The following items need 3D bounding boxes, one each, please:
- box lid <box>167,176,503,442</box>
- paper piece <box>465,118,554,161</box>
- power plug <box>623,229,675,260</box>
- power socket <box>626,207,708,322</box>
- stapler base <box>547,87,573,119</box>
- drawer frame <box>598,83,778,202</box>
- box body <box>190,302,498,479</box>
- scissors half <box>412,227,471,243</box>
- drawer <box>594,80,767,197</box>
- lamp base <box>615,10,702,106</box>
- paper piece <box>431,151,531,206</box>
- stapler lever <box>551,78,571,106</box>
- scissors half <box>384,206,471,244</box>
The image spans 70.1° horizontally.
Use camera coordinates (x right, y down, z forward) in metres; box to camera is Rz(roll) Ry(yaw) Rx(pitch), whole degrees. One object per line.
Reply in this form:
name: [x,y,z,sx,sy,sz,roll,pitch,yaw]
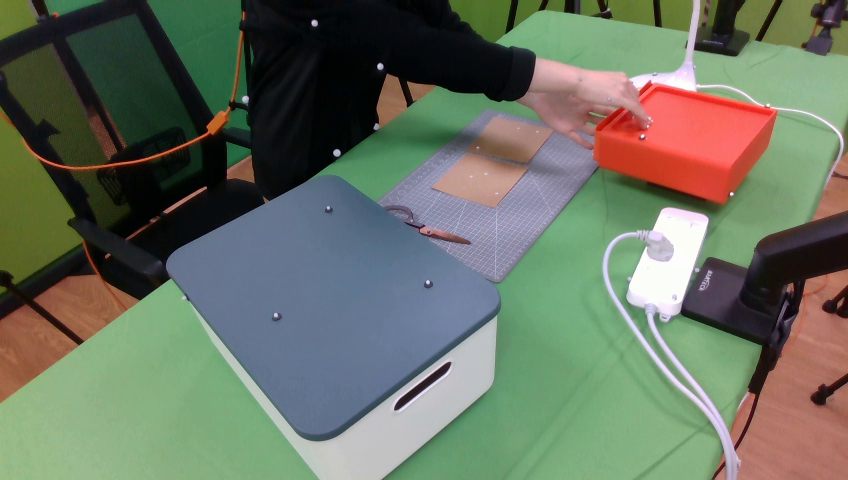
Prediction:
box lid: [-0.119,0.047,0.714,0.264,0.015,0.368,-32,47,-27]
paper piece: [0.170,-0.200,1.195,0.137,0.009,0.136,17,42,27]
power plug: [0.327,0.007,0.878,0.072,0.053,0.035,25,51,33]
power socket: [0.360,0.026,0.886,0.072,0.033,0.227,16,46,26]
stapler base: [0.289,-0.299,1.285,0.041,0.024,0.130,0,39,2]
drawer frame: [0.433,-0.170,1.004,0.212,0.083,0.202,26,50,34]
box body: [-0.110,0.103,0.761,0.255,0.161,0.361,-33,46,-27]
scissors half: [-0.007,-0.010,0.993,0.174,0.013,0.040,8,47,15]
drawer: [0.423,-0.175,1.008,0.210,0.073,0.195,27,50,33]
lamp base: [0.484,-0.364,1.211,0.180,0.181,0.159,-15,41,-14]
paper piece: [0.105,-0.116,1.104,0.134,0.004,0.136,21,47,30]
stapler lever: [0.287,-0.320,1.270,0.027,0.040,0.117,-1,39,2]
scissors half: [0.001,-0.024,1.005,0.174,0.013,0.040,22,57,25]
